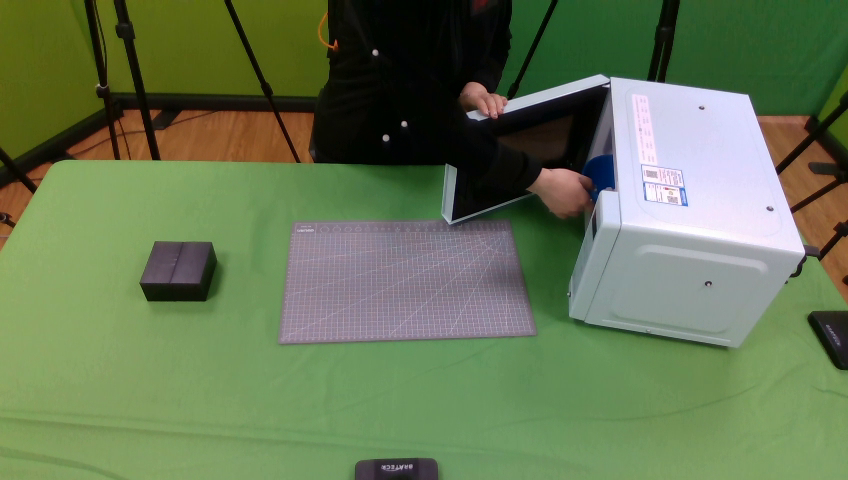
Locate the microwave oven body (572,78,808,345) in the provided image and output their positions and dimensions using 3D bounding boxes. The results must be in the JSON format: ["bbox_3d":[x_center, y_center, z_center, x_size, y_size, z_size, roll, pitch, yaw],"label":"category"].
[{"bbox_3d":[0.456,-0.063,1.125,0.326,0.261,0.439,8,45,5],"label":"microwave oven body"}]

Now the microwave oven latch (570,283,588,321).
[{"bbox_3d":[0.276,0.106,1.082,0.030,0.029,0.079,10,45,6],"label":"microwave oven latch"}]

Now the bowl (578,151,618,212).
[{"bbox_3d":[0.366,-0.095,1.180,0.151,0.077,0.150,3,48,-3],"label":"bowl"}]

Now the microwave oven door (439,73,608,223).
[{"bbox_3d":[0.199,-0.185,1.214,0.356,0.245,0.039,-20,51,-22],"label":"microwave oven door"}]
